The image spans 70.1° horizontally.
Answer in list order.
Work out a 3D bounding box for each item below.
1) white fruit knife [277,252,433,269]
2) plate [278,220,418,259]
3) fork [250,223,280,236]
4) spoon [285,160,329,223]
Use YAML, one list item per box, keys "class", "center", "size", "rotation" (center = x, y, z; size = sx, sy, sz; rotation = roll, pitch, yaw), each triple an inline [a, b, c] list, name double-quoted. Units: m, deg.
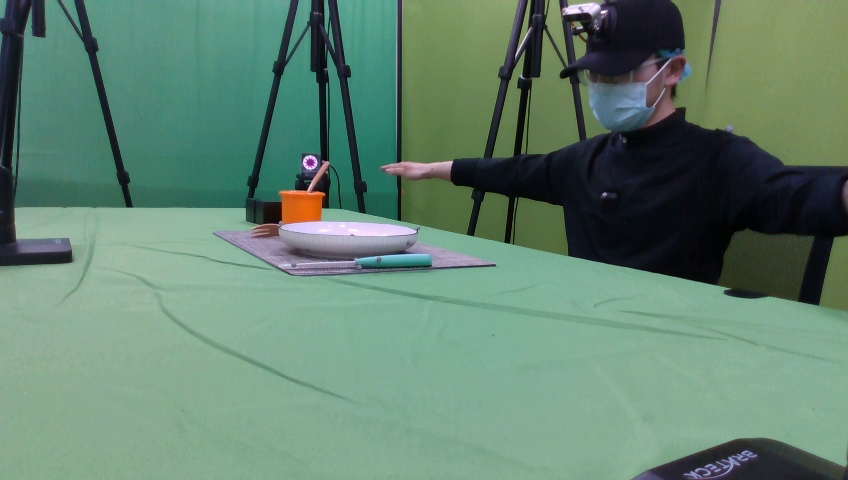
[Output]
- class: "white fruit knife"
  center: [-0.082, 0.029, 0.772]
  size: [0.208, 0.016, 0.027]
  rotation: [-3, -20, -22]
- class: "plate"
  center: [-0.114, -0.002, 0.914]
  size: [0.209, 0.038, 0.209]
  rotation: [2, 7, 0]
- class: "fork"
  center: [-0.194, -0.014, 1.051]
  size: [0.208, 0.028, 0.018]
  rotation: [3, 38, -14]
- class: "spoon"
  center: [-0.237, -0.101, 1.253]
  size: [0.041, 0.193, 0.022]
  rotation: [2, -37, 25]
